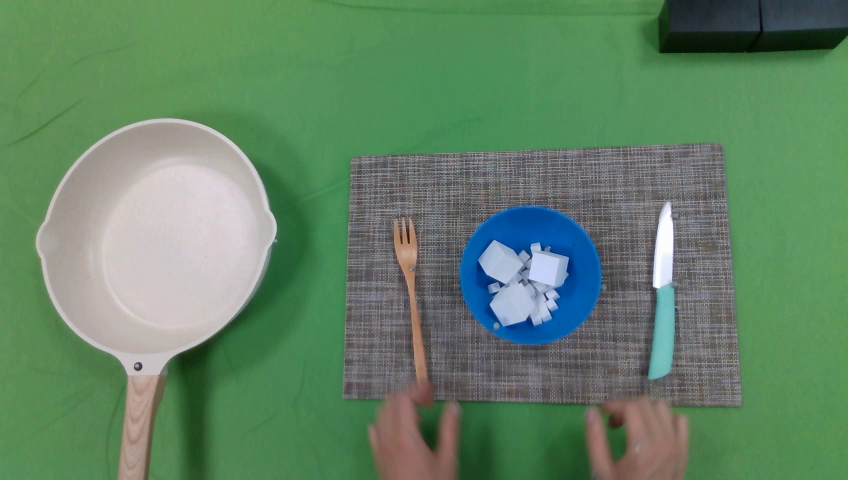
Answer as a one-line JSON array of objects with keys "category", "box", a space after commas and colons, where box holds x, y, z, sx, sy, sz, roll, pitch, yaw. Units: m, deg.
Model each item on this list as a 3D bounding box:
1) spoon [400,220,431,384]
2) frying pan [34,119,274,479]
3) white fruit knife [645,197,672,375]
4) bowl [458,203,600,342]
[{"category": "spoon", "box": [-0.011, 0.072, 0.719, 0.041, 0.022, 0.193, -4, 77, 22]}, {"category": "frying pan", "box": [-0.323, 0.097, 0.719, 0.306, 0.103, 0.484, -2, 71, 8]}, {"category": "white fruit knife", "box": [0.270, 0.050, 0.688, 0.027, 0.016, 0.206, 7, 80, 0]}, {"category": "bowl", "box": [0.116, 0.040, 0.679, 0.151, 0.077, 0.151, -1, 80, 7]}]
